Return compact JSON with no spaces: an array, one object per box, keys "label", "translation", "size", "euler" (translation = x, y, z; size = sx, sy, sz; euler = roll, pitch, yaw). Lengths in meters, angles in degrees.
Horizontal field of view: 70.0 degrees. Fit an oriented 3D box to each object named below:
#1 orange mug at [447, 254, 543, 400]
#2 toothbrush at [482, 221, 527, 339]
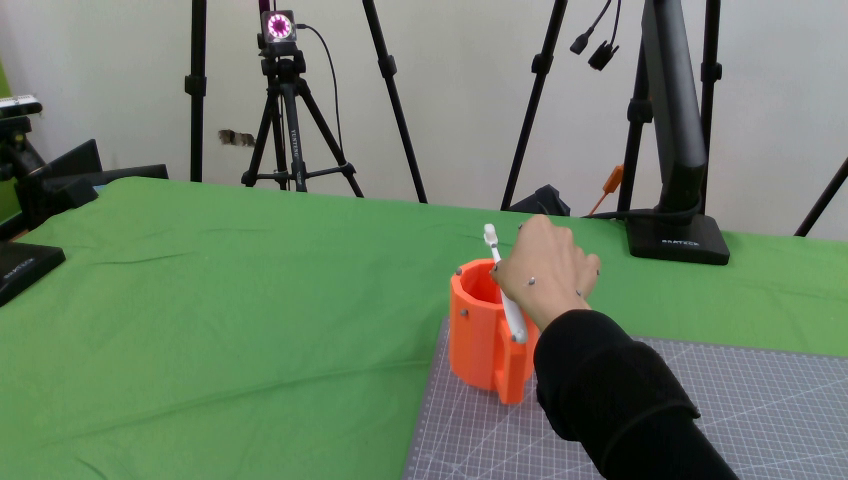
[{"label":"orange mug","translation":[0.069,0.083,0.566],"size":[0.083,0.101,0.125],"euler":[-4,26,-7]},{"label":"toothbrush","translation":[0.071,0.030,0.554],"size":[0.014,0.017,0.180],"euler":[-2,30,-2]}]
